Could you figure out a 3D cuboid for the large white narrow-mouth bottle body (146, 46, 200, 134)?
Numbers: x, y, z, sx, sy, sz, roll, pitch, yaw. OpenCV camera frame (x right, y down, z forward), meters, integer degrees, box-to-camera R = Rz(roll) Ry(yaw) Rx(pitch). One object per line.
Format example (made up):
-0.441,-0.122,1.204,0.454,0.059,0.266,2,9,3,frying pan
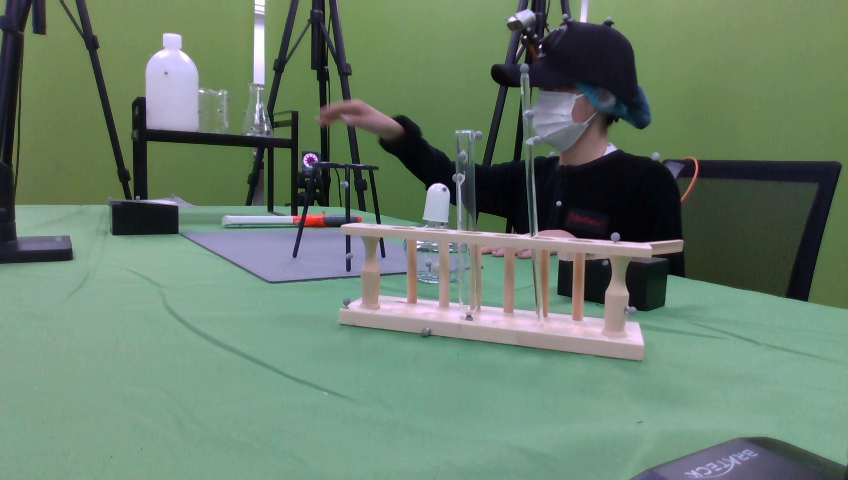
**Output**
-0.516,-0.319,1.243,0.102,0.194,0.102,2,7,0,large white narrow-mouth bottle body

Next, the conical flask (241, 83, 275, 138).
-0.383,-0.297,1.392,0.075,0.122,0.075,2,7,0,conical flask

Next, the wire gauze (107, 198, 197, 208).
-0.462,-0.064,1.023,0.126,0.011,0.121,-2,7,-32,wire gauze

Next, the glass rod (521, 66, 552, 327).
0.085,-0.028,0.454,0.008,0.199,0.008,-7,10,2,glass rod

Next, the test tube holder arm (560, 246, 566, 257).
0.173,0.008,0.612,0.088,0.015,0.010,-3,8,-30,test tube holder arm

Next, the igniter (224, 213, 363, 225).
-0.255,-0.041,1.210,0.278,0.025,0.057,-2,-2,-31,igniter

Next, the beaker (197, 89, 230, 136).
-0.472,-0.283,1.353,0.074,0.100,0.083,-4,10,-35,beaker

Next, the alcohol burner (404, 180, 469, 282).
0.015,-0.011,0.715,0.078,0.119,0.078,0,7,0,alcohol burner

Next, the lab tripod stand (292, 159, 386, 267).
-0.105,-0.039,0.798,0.148,0.131,0.148,2,5,0,lab tripod stand

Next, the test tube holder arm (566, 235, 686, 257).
0.215,0.006,0.630,0.179,0.015,0.013,-3,8,-31,test tube holder arm

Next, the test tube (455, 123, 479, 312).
0.034,-0.016,0.476,0.017,0.150,0.017,-2,10,1,test tube

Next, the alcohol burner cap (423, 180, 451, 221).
0.017,-0.046,0.711,0.034,0.048,0.034,8,5,0,alcohol burner cap

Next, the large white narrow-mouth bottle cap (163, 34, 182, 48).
-0.513,-0.404,1.233,0.038,0.024,0.037,2,7,0,large white narrow-mouth bottle cap

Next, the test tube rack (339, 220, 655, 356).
0.056,0.032,0.495,0.242,0.085,0.067,4,7,15,test tube rack
